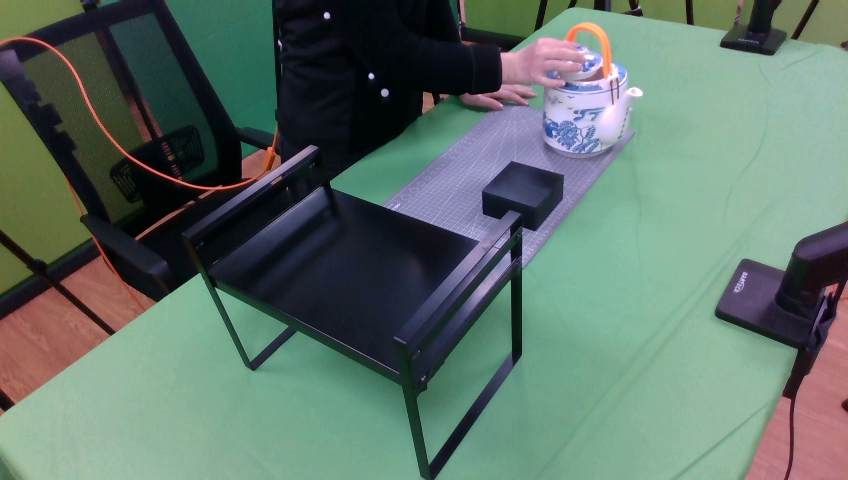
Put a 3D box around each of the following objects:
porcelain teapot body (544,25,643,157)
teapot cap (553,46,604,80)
[{"bbox_3d":[0.306,-0.258,1.070,0.146,0.226,0.203,-26,44,-20],"label":"porcelain teapot body"},{"bbox_3d":[0.267,-0.311,1.045,0.085,0.044,0.084,-4,44,4],"label":"teapot cap"}]
